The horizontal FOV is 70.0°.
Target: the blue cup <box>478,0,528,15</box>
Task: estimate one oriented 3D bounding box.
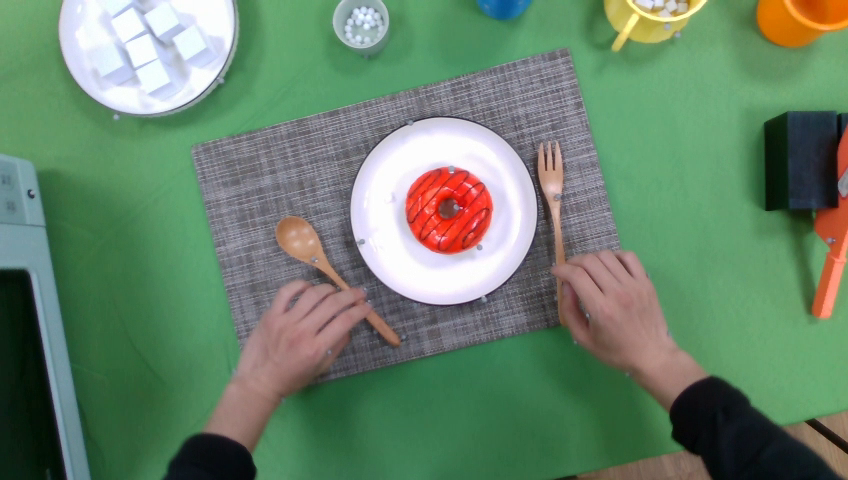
[{"bbox_3d":[0.087,-0.287,0.643,0.092,0.100,0.092,0,91,3],"label":"blue cup"}]

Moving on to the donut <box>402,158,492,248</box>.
[{"bbox_3d":[0.025,-0.040,0.660,0.099,0.048,0.099,0,90,5],"label":"donut"}]

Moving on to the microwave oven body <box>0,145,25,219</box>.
[{"bbox_3d":[-0.577,0.136,0.592,0.326,0.260,0.441,-11,89,3],"label":"microwave oven body"}]

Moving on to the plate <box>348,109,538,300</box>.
[{"bbox_3d":[0.021,-0.038,0.672,0.209,0.038,0.209,0,89,3],"label":"plate"}]

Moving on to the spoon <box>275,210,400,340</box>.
[{"bbox_3d":[-0.096,0.043,0.685,0.041,0.021,0.193,-42,88,-6],"label":"spoon"}]

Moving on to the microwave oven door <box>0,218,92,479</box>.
[{"bbox_3d":[-0.426,0.151,0.578,0.039,0.244,0.355,-11,88,3],"label":"microwave oven door"}]

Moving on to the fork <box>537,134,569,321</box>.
[{"bbox_3d":[0.147,-0.014,0.673,0.028,0.018,0.207,-4,87,-4],"label":"fork"}]

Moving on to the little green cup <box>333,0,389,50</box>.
[{"bbox_3d":[-0.068,-0.246,0.683,0.061,0.038,0.061,0,89,4],"label":"little green cup"}]

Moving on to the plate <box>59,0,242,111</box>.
[{"bbox_3d":[-0.308,-0.249,0.696,0.207,0.039,0.207,0,89,3],"label":"plate"}]

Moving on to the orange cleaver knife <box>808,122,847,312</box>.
[{"bbox_3d":[0.428,-0.024,0.631,0.012,0.076,0.213,1,119,6],"label":"orange cleaver knife"}]

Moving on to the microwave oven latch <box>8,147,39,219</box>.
[{"bbox_3d":[-0.460,-0.063,0.684,0.030,0.029,0.079,-8,90,3],"label":"microwave oven latch"}]

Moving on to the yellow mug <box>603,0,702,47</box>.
[{"bbox_3d":[0.241,-0.265,0.652,0.100,0.064,0.131,34,92,3],"label":"yellow mug"}]
